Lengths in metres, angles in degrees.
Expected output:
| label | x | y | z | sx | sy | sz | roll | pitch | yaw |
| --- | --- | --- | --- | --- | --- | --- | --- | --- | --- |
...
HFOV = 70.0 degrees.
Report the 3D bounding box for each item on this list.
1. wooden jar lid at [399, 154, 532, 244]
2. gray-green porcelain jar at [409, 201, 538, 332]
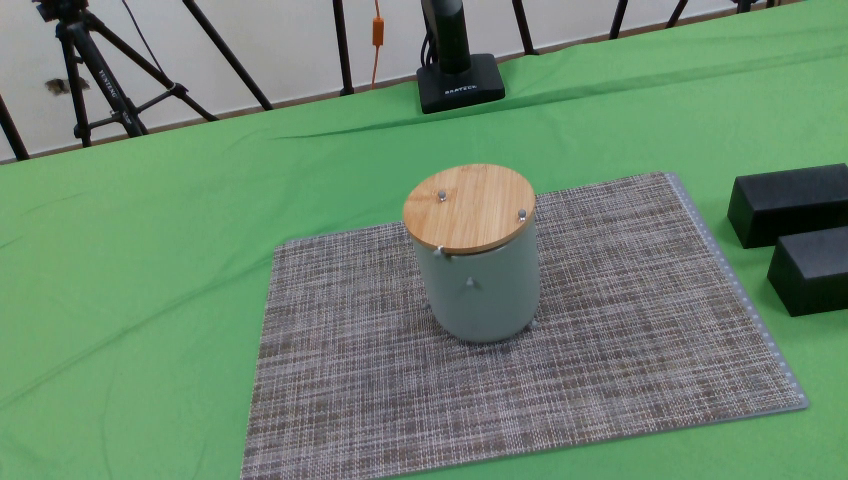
| label | x | y | z | sx | sy | sz | roll | pitch | yaw |
| --- | --- | --- | --- | --- | --- | --- | --- | --- | --- |
| wooden jar lid | 0.034 | -0.031 | 0.495 | 0.108 | 0.021 | 0.107 | -7 | 44 | 7 |
| gray-green porcelain jar | 0.047 | 0.012 | 0.540 | 0.106 | 0.128 | 0.105 | -7 | 45 | 7 |
